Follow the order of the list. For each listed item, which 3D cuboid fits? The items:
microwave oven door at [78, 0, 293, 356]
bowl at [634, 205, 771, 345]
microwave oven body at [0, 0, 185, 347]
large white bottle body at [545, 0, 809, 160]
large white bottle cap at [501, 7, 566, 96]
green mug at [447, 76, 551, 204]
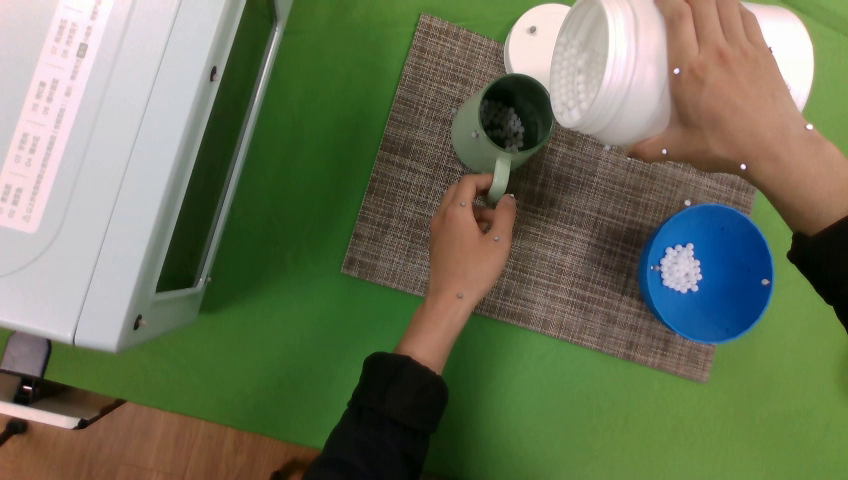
[{"bbox_3d":[-0.179,-0.093,0.502,0.039,0.243,0.355,16,85,-8],"label":"microwave oven door"},{"bbox_3d":[0.295,0.039,0.679,0.152,0.076,0.151,0,88,-9],"label":"bowl"},{"bbox_3d":[-0.307,-0.175,0.487,0.327,0.259,0.441,16,86,-10],"label":"microwave oven body"},{"bbox_3d":[0.211,-0.142,0.527,0.185,0.130,0.130,3,87,-14],"label":"large white bottle body"},{"bbox_3d":[0.145,-0.207,0.691,0.115,0.018,0.114,1,88,-11],"label":"large white bottle cap"},{"bbox_3d":[0.074,-0.100,0.630,0.093,0.105,0.125,9,86,-10],"label":"green mug"}]
